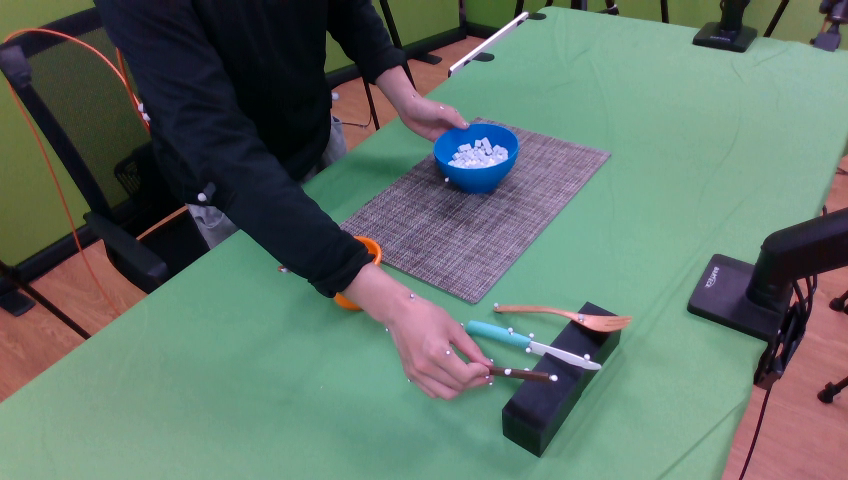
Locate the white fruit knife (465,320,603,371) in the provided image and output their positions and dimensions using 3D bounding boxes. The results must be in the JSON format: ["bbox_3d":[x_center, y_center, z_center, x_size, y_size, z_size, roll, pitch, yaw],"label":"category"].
[{"bbox_3d":[0.129,0.129,0.750,0.205,0.027,0.016,11,45,44],"label":"white fruit knife"}]

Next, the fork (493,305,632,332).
[{"bbox_3d":[0.171,0.097,0.782,0.205,0.019,0.028,4,41,43],"label":"fork"}]

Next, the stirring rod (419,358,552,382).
[{"bbox_3d":[0.066,0.150,0.701,0.175,0.014,0.006,-1,50,37],"label":"stirring rod"}]

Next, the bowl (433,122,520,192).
[{"bbox_3d":[0.093,-0.137,1.064,0.151,0.077,0.150,-4,41,4],"label":"bowl"}]

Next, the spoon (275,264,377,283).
[{"bbox_3d":[-0.133,0.043,0.840,0.041,0.021,0.195,24,5,33],"label":"spoon"}]
